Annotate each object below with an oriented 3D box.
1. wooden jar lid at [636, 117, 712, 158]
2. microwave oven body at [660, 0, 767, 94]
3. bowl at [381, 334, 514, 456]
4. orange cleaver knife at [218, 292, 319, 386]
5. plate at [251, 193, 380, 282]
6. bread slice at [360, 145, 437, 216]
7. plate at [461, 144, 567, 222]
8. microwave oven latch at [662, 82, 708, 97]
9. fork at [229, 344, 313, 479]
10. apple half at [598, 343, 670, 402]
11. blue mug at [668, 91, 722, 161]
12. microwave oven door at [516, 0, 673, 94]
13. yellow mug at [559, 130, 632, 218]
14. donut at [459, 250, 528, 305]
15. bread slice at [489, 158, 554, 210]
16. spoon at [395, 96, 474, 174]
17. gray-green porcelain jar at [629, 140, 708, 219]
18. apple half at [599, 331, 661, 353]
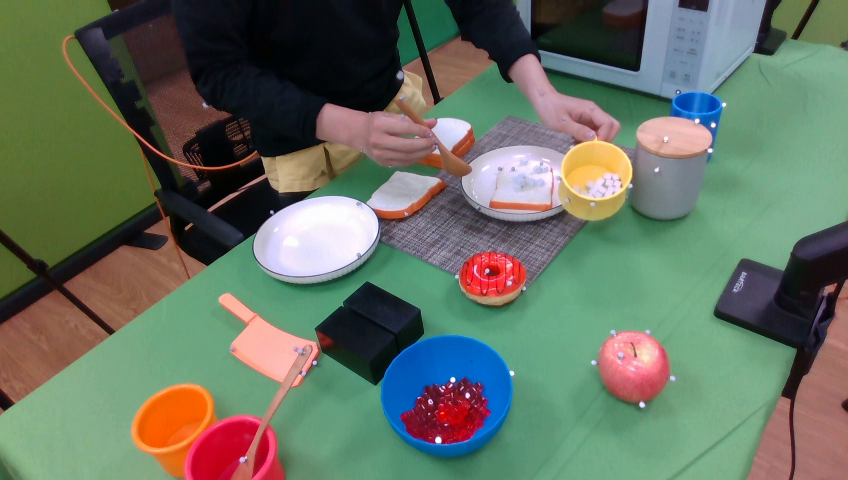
[{"bbox_3d":[0.377,-0.151,0.917,0.108,0.021,0.108,-2,41,3],"label":"wooden jar lid"},{"bbox_3d":[0.474,-0.517,1.313,0.438,0.261,0.327,26,51,34],"label":"microwave oven body"},{"bbox_3d":[0.029,0.192,0.701,0.151,0.077,0.150,-4,40,4],"label":"bowl"},{"bbox_3d":[-0.235,0.136,0.850,0.209,0.012,0.077,25,56,30],"label":"orange cleaver knife"},{"bbox_3d":[-0.174,-0.001,0.984,0.209,0.038,0.208,-3,40,3],"label":"plate"},{"bbox_3d":[-0.053,-0.103,1.046,0.106,0.018,0.134,19,67,22],"label":"bread slice"},{"bbox_3d":[0.167,-0.095,1.040,0.207,0.039,0.206,-4,41,4],"label":"plate"},{"bbox_3d":[0.518,-0.298,1.203,0.078,0.029,0.030,28,53,35],"label":"microwave oven latch"},{"bbox_3d":[-0.173,0.205,0.662,0.028,0.019,0.207,29,94,36],"label":"fork"},{"bbox_3d":[0.247,0.161,0.710,0.081,0.075,0.053,2,46,5],"label":"apple half"},{"bbox_3d":[0.475,-0.207,1.078,0.082,0.106,0.116,4,42,13],"label":"blue mug"},{"bbox_3d":[0.344,-0.458,1.257,0.353,0.245,0.039,26,52,33],"label":"microwave oven door"},{"bbox_3d":[0.252,-0.105,0.901,0.100,0.064,0.130,0,65,8],"label":"yellow mug"},{"bbox_3d":[0.100,0.053,0.873,0.099,0.048,0.098,-4,40,4],"label":"donut"},{"bbox_3d":[0.173,-0.100,1.047,0.104,0.019,0.131,4,42,12],"label":"bread slice"},{"bbox_3d":[0.015,-0.146,0.866,0.041,0.195,0.021,-9,55,33],"label":"spoon"},{"bbox_3d":[0.383,-0.105,0.958,0.106,0.127,0.105,-4,41,4],"label":"gray-green porcelain jar"},{"bbox_3d":[0.249,0.134,0.738,0.081,0.081,0.032,-1,46,7],"label":"apple half"}]
